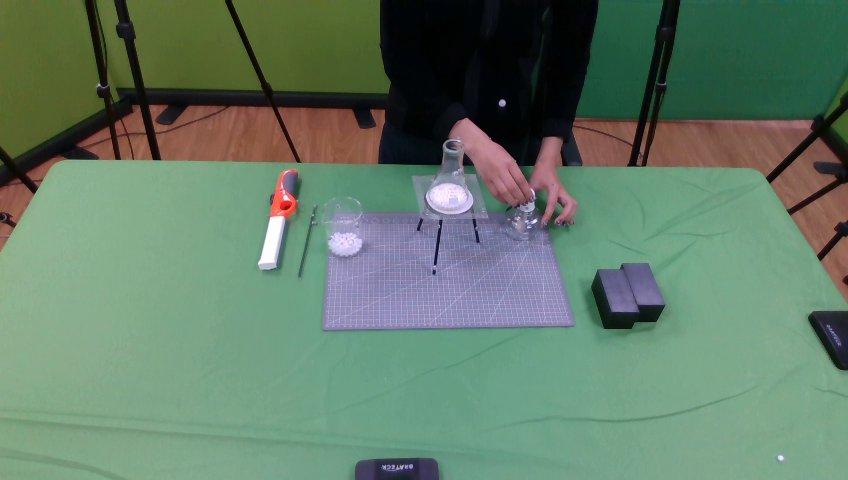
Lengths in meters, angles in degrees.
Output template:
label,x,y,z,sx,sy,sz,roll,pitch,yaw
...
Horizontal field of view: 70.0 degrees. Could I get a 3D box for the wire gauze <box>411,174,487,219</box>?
label,x,y,z,sx,sy,sz,roll,pitch,yaw
wire gauze,0.044,-0.079,1.107,0.125,0.011,0.120,-4,44,-6

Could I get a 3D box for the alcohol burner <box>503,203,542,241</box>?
label,x,y,z,sx,sy,sz,roll,pitch,yaw
alcohol burner,0.198,-0.055,1.202,0.078,0.120,0.077,2,48,-2

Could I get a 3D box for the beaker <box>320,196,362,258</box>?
label,x,y,z,sx,sy,sz,roll,pitch,yaw
beaker,-0.156,-0.021,1.150,0.084,0.101,0.073,-30,55,-28

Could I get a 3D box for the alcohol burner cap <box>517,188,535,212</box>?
label,x,y,z,sx,sy,sz,roll,pitch,yaw
alcohol burner cap,0.200,-0.080,1.175,0.034,0.048,0.033,-1,47,1

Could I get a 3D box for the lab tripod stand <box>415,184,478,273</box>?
label,x,y,z,sx,sy,sz,roll,pitch,yaw
lab tripod stand,0.042,-0.031,1.152,0.148,0.132,0.147,3,44,-3

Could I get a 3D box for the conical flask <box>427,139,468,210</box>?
label,x,y,z,sx,sy,sz,roll,pitch,yaw
conical flask,0.046,-0.117,1.061,0.075,0.122,0.075,3,46,-2

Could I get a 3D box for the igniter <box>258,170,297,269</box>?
label,x,y,z,sx,sy,sz,roll,pitch,yaw
igniter,-0.294,-0.050,1.221,0.057,0.025,0.274,-5,45,4

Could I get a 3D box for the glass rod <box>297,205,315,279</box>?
label,x,y,z,sx,sy,sz,roll,pitch,yaw
glass rod,-0.232,0.000,1.191,0.008,0.008,0.198,2,46,-1
